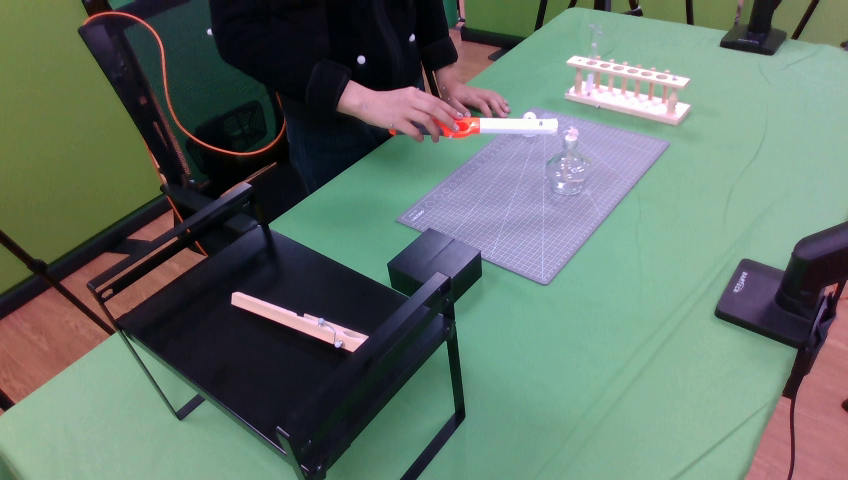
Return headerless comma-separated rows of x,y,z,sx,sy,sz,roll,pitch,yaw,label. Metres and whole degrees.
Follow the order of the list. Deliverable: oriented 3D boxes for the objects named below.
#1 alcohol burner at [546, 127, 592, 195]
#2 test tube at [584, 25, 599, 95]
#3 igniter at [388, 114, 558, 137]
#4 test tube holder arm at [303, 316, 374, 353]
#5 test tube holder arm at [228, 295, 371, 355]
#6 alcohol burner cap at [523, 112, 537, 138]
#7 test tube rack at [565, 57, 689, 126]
0.247,-0.137,1.024,0.078,0.119,0.077,-4,38,4,alcohol burner
0.339,-0.361,1.224,0.017,0.151,0.017,-4,45,4,test tube
0.080,-0.187,0.993,0.277,0.025,0.057,1,44,0,igniter
-0.089,0.094,0.604,0.087,0.015,0.010,14,6,25,test tube holder arm
-0.132,0.084,0.617,0.177,0.015,0.013,14,6,24,test tube holder arm
0.210,-0.230,1.195,0.034,0.048,0.033,-5,41,5,alcohol burner cap
0.412,-0.311,1.230,0.240,0.085,0.067,23,49,32,test tube rack
